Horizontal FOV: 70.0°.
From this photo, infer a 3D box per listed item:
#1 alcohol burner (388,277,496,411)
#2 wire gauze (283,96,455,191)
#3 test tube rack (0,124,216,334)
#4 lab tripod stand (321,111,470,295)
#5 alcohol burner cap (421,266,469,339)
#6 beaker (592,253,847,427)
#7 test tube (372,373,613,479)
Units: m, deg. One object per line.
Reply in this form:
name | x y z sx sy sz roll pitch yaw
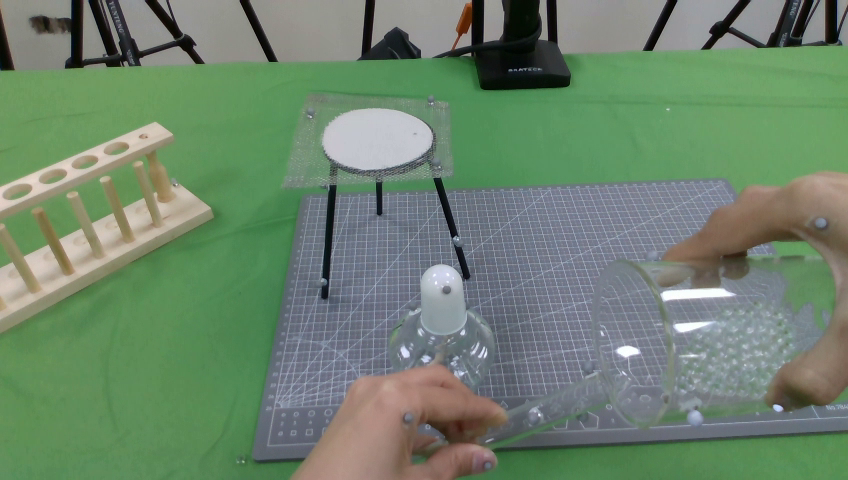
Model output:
alcohol burner | 0.013 0.065 0.422 0.078 0.120 0.077 0 43 0
wire gauze | -0.038 -0.078 0.467 0.121 0.011 0.124 0 42 0
test tube rack | -0.317 -0.009 0.536 0.066 0.086 0.242 32 51 32
lab tripod stand | -0.029 -0.030 0.514 0.148 0.132 0.147 1 41 0
alcohol burner cap | 0.013 0.038 0.398 0.034 0.048 0.033 -2 41 3
beaker | 0.138 0.045 0.278 0.100 0.084 0.073 -3 49 -8
test tube | 0.031 0.107 0.327 0.150 0.017 0.017 -30 36 23
